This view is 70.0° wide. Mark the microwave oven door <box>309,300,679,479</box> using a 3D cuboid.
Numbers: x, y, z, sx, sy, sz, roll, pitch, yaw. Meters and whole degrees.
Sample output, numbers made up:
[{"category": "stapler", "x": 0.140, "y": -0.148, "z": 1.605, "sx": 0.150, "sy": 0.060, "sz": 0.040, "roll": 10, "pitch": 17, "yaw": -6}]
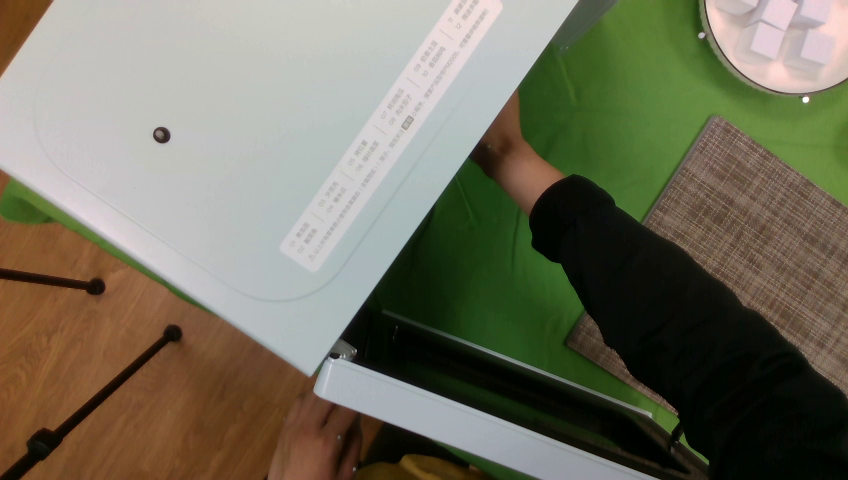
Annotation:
[{"category": "microwave oven door", "x": 0.083, "y": 0.145, "z": 0.538, "sx": 0.356, "sy": 0.243, "sz": 0.039, "roll": 22, "pitch": 92, "yaw": -5}]

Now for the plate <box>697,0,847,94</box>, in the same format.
[{"category": "plate", "x": 0.388, "y": -0.259, "z": 0.646, "sx": 0.208, "sy": 0.039, "sz": 0.208, "roll": 0, "pitch": 94, "yaw": -4}]

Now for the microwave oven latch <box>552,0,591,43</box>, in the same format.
[{"category": "microwave oven latch", "x": 0.151, "y": -0.241, "z": 0.612, "sx": 0.030, "sy": 0.029, "sz": 0.079, "roll": 40, "pitch": 92, "yaw": -6}]

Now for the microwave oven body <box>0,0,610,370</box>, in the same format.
[{"category": "microwave oven body", "x": -0.067, "y": -0.176, "z": 0.506, "sx": 0.327, "sy": 0.259, "sz": 0.441, "roll": 36, "pitch": 92, "yaw": -6}]

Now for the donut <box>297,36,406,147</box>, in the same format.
[{"category": "donut", "x": -0.065, "y": -0.134, "z": 0.551, "sx": 0.099, "sy": 0.048, "sz": 0.099, "roll": 0, "pitch": 98, "yaw": 2}]

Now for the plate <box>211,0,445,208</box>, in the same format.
[{"category": "plate", "x": -0.085, "y": -0.134, "z": 0.557, "sx": 0.209, "sy": 0.038, "sz": 0.209, "roll": 0, "pitch": 96, "yaw": -4}]
